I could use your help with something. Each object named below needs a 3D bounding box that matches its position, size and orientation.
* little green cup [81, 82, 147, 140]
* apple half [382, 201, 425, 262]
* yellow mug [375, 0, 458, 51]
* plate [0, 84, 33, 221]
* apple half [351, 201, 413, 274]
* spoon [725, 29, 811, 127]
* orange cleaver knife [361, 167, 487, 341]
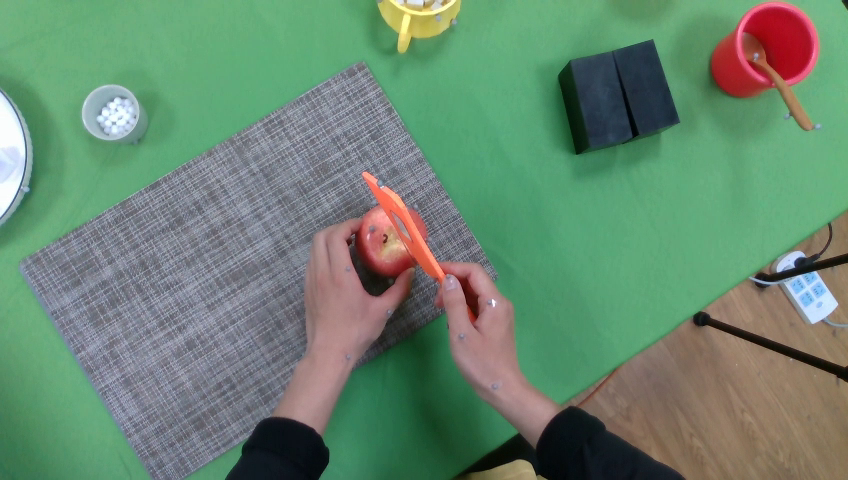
[{"bbox_3d":[-0.342,-0.140,0.674,0.061,0.038,0.061,0,87,-4],"label":"little green cup"},{"bbox_3d":[-0.018,-0.017,0.668,0.033,0.081,0.081,-29,89,-1],"label":"apple half"},{"bbox_3d":[-0.011,-0.279,0.688,0.100,0.064,0.130,16,87,-3],"label":"yellow mug"},{"bbox_3d":[-0.530,-0.093,0.659,0.208,0.039,0.207,0,88,-4],"label":"plate"},{"bbox_3d":[-0.051,0.003,0.666,0.053,0.074,0.081,-28,95,0],"label":"apple half"},{"bbox_3d":[0.382,-0.185,0.673,0.041,0.022,0.192,3,43,-2],"label":"spoon"},{"bbox_3d":[0.001,0.017,0.595,0.012,0.076,0.213,-38,119,-10],"label":"orange cleaver knife"}]
